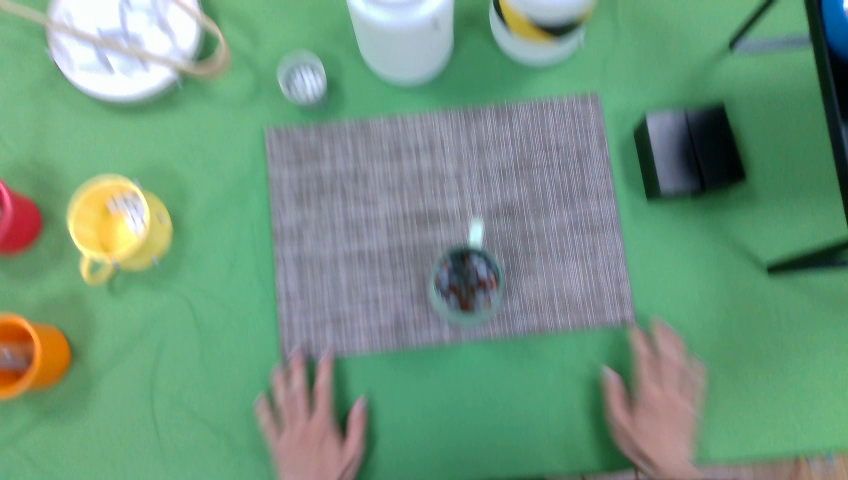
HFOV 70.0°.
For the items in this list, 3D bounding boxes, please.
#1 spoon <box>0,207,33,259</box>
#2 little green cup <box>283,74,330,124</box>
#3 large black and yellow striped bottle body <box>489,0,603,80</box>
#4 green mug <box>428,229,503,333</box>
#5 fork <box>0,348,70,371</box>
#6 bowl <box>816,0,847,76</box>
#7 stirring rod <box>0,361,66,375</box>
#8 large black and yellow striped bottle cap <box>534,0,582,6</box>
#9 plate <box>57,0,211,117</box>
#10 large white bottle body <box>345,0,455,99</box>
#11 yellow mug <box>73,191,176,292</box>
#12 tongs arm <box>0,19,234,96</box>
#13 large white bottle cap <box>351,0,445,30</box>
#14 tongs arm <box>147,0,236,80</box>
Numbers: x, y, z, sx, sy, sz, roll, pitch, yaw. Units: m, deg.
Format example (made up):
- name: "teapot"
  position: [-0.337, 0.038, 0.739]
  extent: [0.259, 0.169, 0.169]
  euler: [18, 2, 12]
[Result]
- name: "spoon"
  position: [-0.540, -0.060, 0.745]
  extent: [0.041, 0.021, 0.195]
  euler: [-10, 124, -1]
- name: "little green cup"
  position: [-0.156, -0.188, 0.818]
  extent: [0.061, 0.039, 0.061]
  euler: [0, 80, 1]
- name: "large black and yellow striped bottle body"
  position: [0.153, -0.299, 0.760]
  extent: [0.131, 0.185, 0.130]
  euler: [0, 78, 2]
- name: "green mug"
  position: [0.054, 0.048, 0.730]
  extent: [0.092, 0.105, 0.125]
  euler: [10, 79, 4]
- name: "fork"
  position: [-0.529, 0.129, 0.705]
  extent: [0.209, 0.018, 0.028]
  euler: [20, 72, -39]
- name: "bowl"
  position: [0.458, -0.215, 0.608]
  extent: [0.151, 0.077, 0.150]
  euler: [0, 79, 1]
- name: "stirring rod"
  position: [-0.519, 0.147, 0.705]
  extent: [0.177, 0.006, 0.014]
  euler: [12, 65, -37]
- name: "large black and yellow striped bottle cap"
  position: [0.150, -0.318, 0.678]
  extent: [0.115, 0.019, 0.114]
  euler: [0, 79, 0]
- name: "plate"
  position: [-0.394, -0.265, 0.838]
  extent: [0.208, 0.039, 0.206]
  euler: [0, 79, 1]
- name: "large white bottle body"
  position: [-0.027, -0.274, 0.758]
  extent: [0.130, 0.185, 0.130]
  euler: [0, 78, 2]
- name: "yellow mug"
  position: [-0.387, 0.007, 0.770]
  extent: [0.100, 0.064, 0.130]
  euler: [26, 81, 6]
- name: "tongs arm"
  position: [-0.436, -0.262, 0.806]
  extent: [0.384, 0.026, 0.050]
  euler: [22, 77, 7]
- name: "large white bottle cap"
  position: [-0.029, -0.290, 0.675]
  extent: [0.115, 0.018, 0.114]
  euler: [0, 79, 1]
- name: "tongs arm"
  position: [-0.397, -0.333, 0.820]
  extent: [0.386, 0.028, 0.028]
  euler: [36, 75, 10]
